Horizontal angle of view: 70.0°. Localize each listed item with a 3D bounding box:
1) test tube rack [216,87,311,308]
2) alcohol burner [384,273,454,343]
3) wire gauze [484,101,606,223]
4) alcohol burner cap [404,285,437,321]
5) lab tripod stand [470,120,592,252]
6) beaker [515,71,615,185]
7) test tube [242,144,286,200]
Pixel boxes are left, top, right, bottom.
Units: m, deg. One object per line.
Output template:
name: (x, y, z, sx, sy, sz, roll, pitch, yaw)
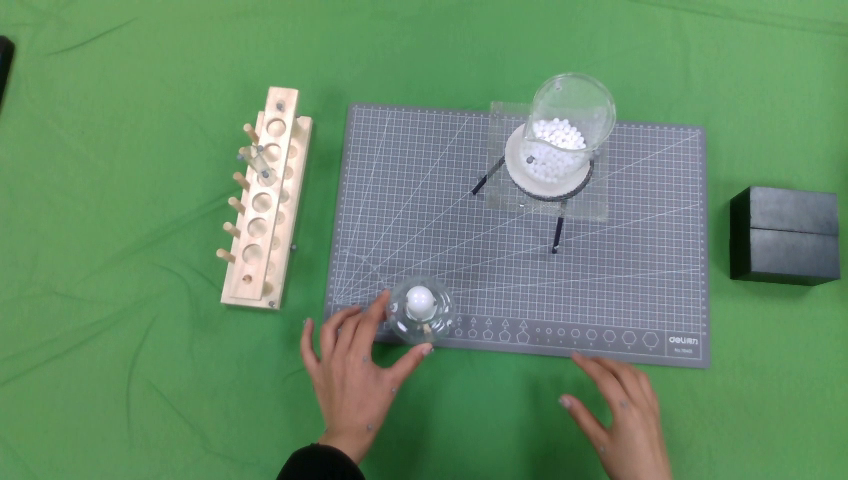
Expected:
test tube rack: (-0.191, -0.049, 0.702, 0.067, 0.085, 0.241, 7, 77, 2)
alcohol burner: (-0.005, 0.072, 0.656, 0.078, 0.119, 0.077, 0, 76, -1)
wire gauze: (0.124, -0.082, 0.614, 0.125, 0.011, 0.121, 6, 77, -1)
alcohol burner cap: (-0.005, 0.063, 0.621, 0.034, 0.048, 0.033, -1, 72, 5)
lab tripod stand: (0.128, -0.070, 0.678, 0.148, 0.132, 0.147, 0, 75, 1)
beaker: (0.124, -0.098, 0.568, 0.084, 0.100, 0.073, -29, 78, -7)
test tube: (-0.170, -0.070, 0.656, 0.017, 0.151, 0.017, 0, 78, -2)
